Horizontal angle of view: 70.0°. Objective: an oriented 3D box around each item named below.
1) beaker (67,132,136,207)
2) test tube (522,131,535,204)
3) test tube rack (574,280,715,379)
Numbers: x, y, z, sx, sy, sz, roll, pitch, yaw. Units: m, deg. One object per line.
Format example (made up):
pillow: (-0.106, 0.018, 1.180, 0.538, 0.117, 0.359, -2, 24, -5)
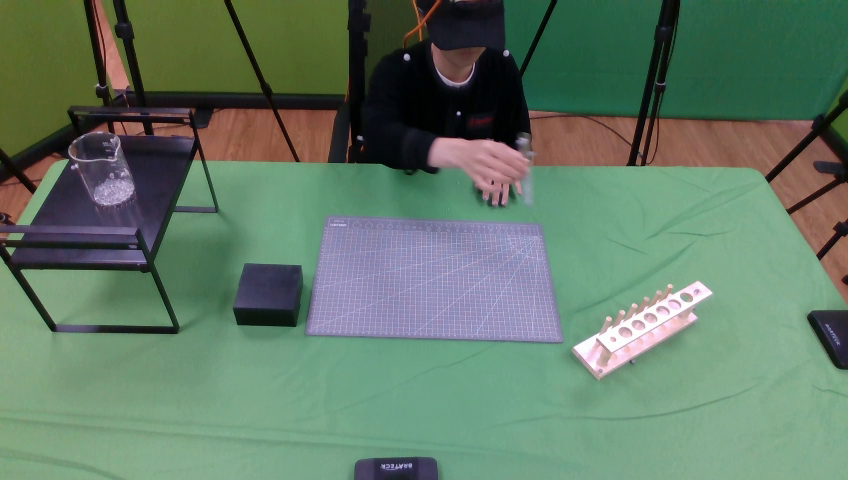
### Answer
beaker: (-0.504, -0.109, 0.961, 0.083, 0.101, 0.074, 25, 50, 19)
test tube: (0.173, -0.115, 0.997, 0.017, 0.151, 0.017, -6, 47, 7)
test tube rack: (0.378, 0.140, 1.038, 0.242, 0.085, 0.066, -23, 51, -23)
